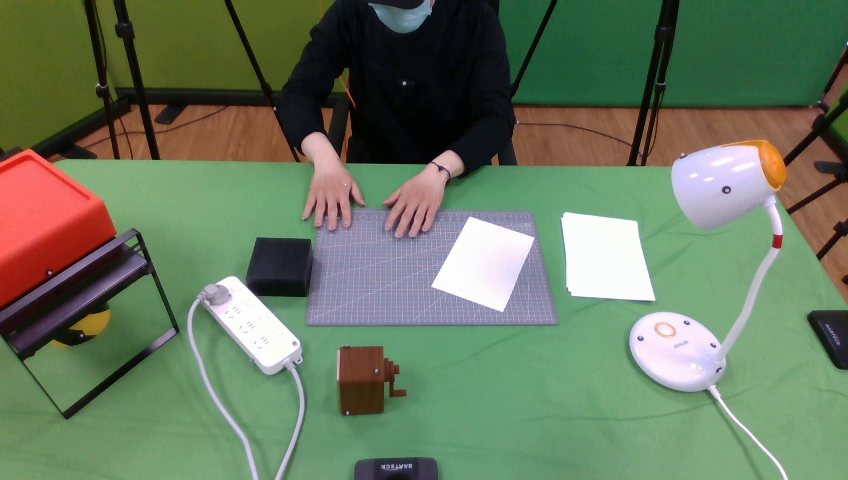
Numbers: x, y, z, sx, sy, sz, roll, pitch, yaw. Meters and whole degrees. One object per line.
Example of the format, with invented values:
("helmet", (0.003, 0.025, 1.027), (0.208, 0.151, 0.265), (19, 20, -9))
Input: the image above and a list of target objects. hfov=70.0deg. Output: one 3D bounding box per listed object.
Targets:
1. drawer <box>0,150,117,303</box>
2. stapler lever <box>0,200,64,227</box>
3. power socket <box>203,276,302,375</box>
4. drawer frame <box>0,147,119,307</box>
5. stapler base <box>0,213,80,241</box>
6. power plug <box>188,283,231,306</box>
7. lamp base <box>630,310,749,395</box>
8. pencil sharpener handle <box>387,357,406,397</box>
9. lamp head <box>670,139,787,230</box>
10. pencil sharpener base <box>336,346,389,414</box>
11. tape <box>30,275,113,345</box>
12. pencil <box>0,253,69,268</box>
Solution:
("drawer", (-0.604, -0.021, 0.885), (0.194, 0.073, 0.211), (30, 52, 22))
("stapler lever", (-0.595, -0.041, 0.903), (0.118, 0.040, 0.026), (5, 42, 10))
("power socket", (-0.297, 0.141, 1.034), (0.072, 0.033, 0.225), (-34, 58, -30))
("drawer frame", (-0.603, -0.020, 0.882), (0.201, 0.083, 0.213), (29, 52, 21))
("stapler base", (-0.592, -0.024, 0.920), (0.130, 0.024, 0.041), (4, 42, 10))
("power plug", (-0.368, 0.099, 1.037), (0.072, 0.053, 0.035), (-24, 53, -25))
("lamp base", (0.447, 0.142, 0.984), (0.161, 0.181, 0.178), (-24, 55, -24))
("pencil sharpener handle", (-0.042, 0.209, 0.919), (0.031, 0.068, 0.036), (-1, 25, -6))
("lamp head", (0.415, -0.079, 0.812), (0.113, 0.123, 0.112), (12, 70, -37))
("pencil sharpener base", (-0.094, 0.215, 0.927), (0.077, 0.107, 0.061), (-1, 46, -6))
("tape", (-0.594, 0.117, 1.022), (0.117, 0.053, 0.116), (2, 45, -2))
("pencil", (-0.607, 0.023, 0.875), (0.194, 0.012, 0.012), (10, 46, 1))
